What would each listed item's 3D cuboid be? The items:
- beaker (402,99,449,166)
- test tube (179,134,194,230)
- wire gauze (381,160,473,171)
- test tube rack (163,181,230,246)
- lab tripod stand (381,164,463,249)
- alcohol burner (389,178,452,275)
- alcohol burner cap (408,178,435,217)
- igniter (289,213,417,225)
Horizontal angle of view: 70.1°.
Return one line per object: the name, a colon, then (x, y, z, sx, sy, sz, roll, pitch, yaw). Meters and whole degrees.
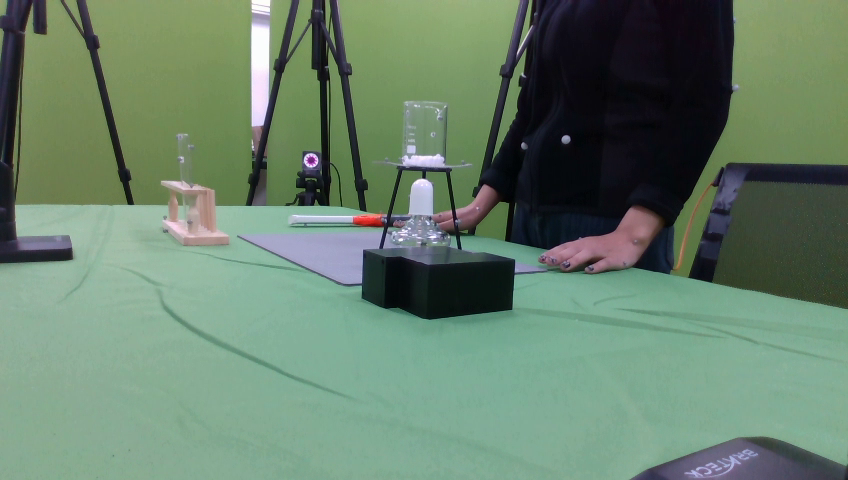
beaker: (0.003, -0.168, 0.957, 0.073, 0.100, 0.084, 8, 11, 35)
test tube: (-0.366, -0.089, 0.938, 0.017, 0.150, 0.017, -1, 9, 1)
wire gauze: (-0.004, -0.120, 0.959, 0.122, 0.011, 0.124, -5, 13, -33)
test tube rack: (-0.387, -0.050, 1.015, 0.067, 0.085, 0.241, -2, 9, -30)
lab tripod stand: (-0.003, -0.055, 0.967, 0.148, 0.131, 0.148, 2, 9, 0)
alcohol burner: (-0.004, -0.017, 0.749, 0.078, 0.119, 0.078, 1, 9, 0)
alcohol burner cap: (-0.003, -0.053, 0.746, 0.034, 0.048, 0.034, 3, 3, 0)
igniter: (-0.144, -0.044, 1.275, 0.278, 0.025, 0.057, -1, -1, -27)
